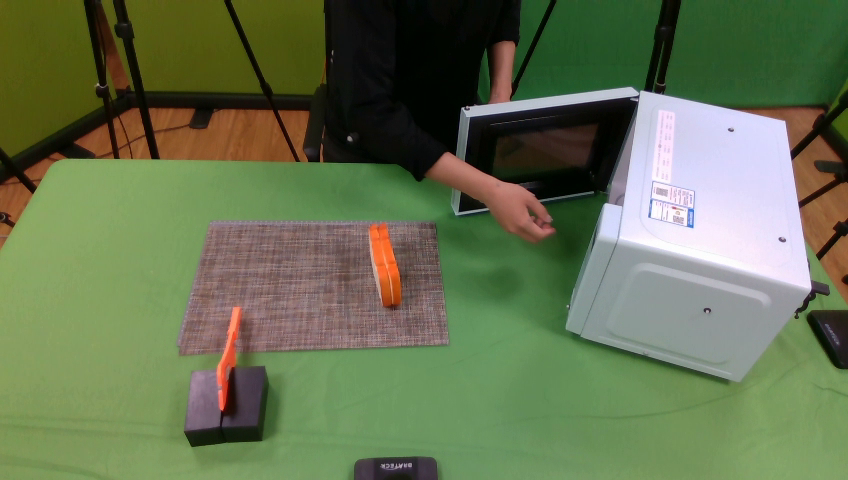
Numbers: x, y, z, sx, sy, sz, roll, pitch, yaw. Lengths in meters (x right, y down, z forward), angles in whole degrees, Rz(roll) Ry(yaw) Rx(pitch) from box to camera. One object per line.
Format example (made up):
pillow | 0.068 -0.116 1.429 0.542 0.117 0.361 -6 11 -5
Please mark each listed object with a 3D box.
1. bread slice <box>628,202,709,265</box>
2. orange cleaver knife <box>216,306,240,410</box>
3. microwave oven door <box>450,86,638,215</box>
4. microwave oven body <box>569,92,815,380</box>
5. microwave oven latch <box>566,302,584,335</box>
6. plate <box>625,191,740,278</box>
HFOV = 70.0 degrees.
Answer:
bread slice | 0.476 -0.019 1.171 0.134 0.018 0.106 -31 58 -17
orange cleaver knife | -0.307 0.180 0.957 0.012 0.077 0.210 -2 25 -8
microwave oven door | 0.234 -0.177 1.207 0.356 0.245 0.039 -10 47 -13
microwave oven body | 0.468 -0.021 1.082 0.325 0.261 0.440 15 46 11
microwave oven latch | 0.268 0.126 1.059 0.030 0.029 0.079 16 46 12
plate | 0.484 -0.007 1.150 0.208 0.039 0.206 0 51 0
